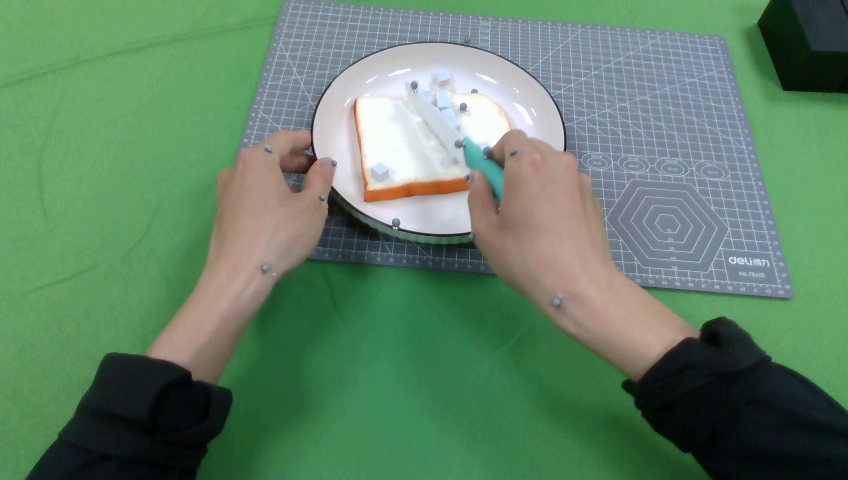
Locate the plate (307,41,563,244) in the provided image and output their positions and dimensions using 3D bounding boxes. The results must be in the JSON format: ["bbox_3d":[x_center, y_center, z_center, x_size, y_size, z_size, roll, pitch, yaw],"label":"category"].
[{"bbox_3d":[0.009,-0.081,0.504,0.209,0.038,0.207,2,59,-2],"label":"plate"}]

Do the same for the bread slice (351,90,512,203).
[{"bbox_3d":[0.007,-0.085,0.508,0.132,0.019,0.104,-8,59,-7],"label":"bread slice"}]

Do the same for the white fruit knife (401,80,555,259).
[{"bbox_3d":[0.031,-0.064,0.448,0.016,0.027,0.205,-20,52,-24],"label":"white fruit knife"}]
